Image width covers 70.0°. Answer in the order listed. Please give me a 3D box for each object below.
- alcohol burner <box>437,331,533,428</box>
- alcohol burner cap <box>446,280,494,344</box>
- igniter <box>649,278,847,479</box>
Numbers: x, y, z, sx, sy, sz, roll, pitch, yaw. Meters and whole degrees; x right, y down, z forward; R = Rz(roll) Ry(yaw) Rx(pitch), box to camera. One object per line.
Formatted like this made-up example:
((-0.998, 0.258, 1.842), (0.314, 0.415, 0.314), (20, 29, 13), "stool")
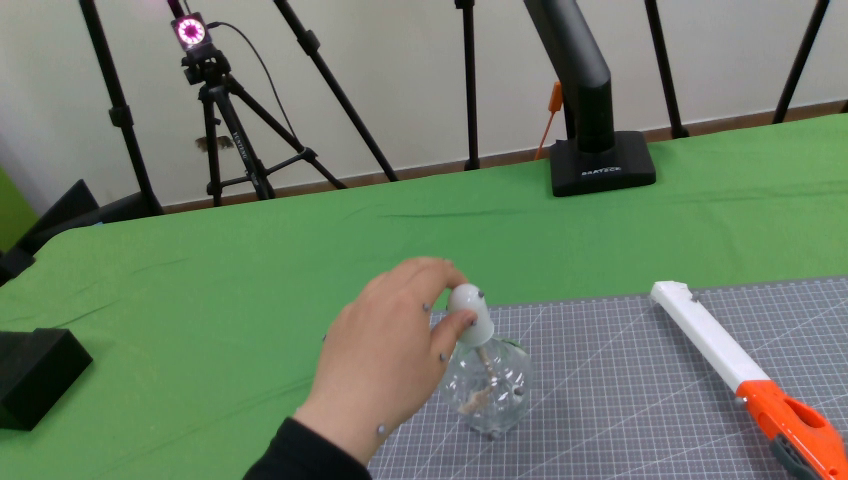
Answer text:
((0.045, 0.092, 0.474), (0.078, 0.120, 0.077), (-9, 37, 7), "alcohol burner")
((0.032, 0.050, 0.444), (0.034, 0.048, 0.033), (-9, 40, 8), "alcohol burner cap")
((0.245, 0.111, 0.435), (0.057, 0.025, 0.273), (1, 30, -13), "igniter")
